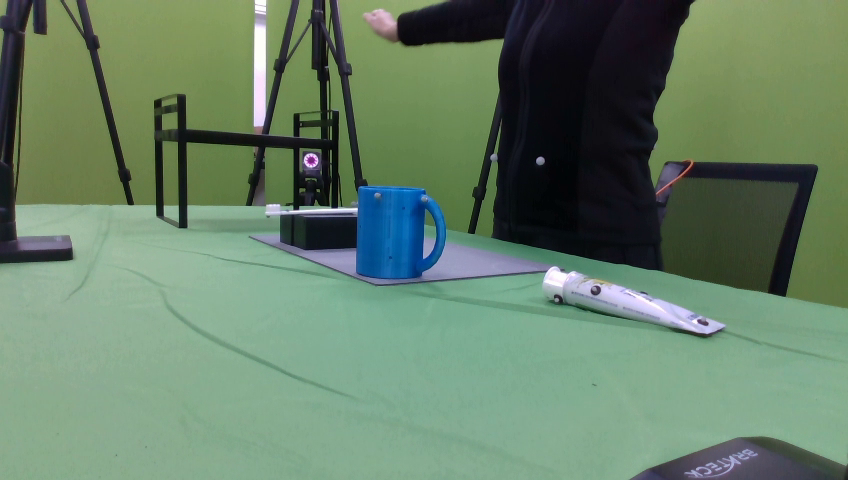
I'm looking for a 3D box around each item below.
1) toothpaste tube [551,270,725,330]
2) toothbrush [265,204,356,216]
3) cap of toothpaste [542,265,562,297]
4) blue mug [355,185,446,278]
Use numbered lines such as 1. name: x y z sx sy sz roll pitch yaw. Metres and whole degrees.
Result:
1. toothpaste tube: 0.193 0.058 0.578 0.164 0.034 0.055 13 17 40
2. toothbrush: -0.160 -0.048 0.937 0.183 0.016 0.014 -4 5 -39
3. cap of toothpaste: 0.137 0.043 0.630 0.011 0.037 0.037 13 13 40
4. blue mug: -0.027 -0.011 0.723 0.116 0.106 0.083 7 8 27
